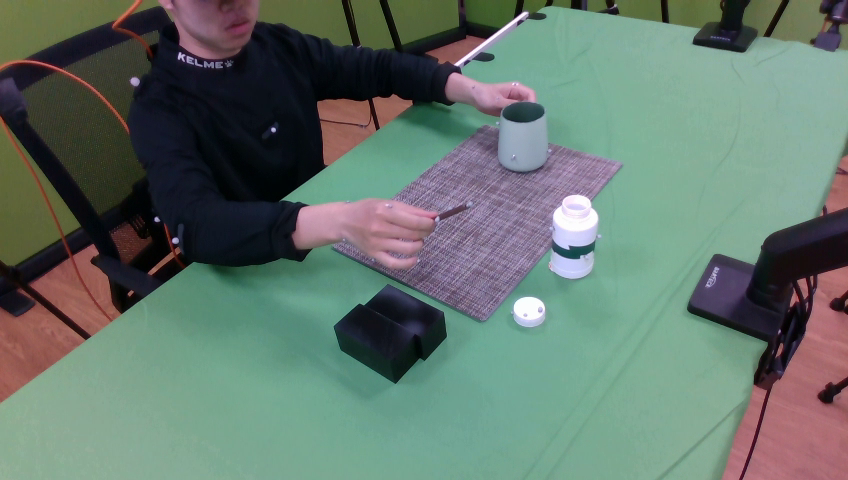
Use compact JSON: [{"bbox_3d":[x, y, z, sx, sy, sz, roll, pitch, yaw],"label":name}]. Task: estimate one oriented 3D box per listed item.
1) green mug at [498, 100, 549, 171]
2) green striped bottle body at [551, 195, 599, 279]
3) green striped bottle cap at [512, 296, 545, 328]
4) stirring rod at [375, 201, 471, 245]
[{"bbox_3d":[0.182,-0.197,1.101,0.092,0.105,0.125,2,41,12],"label":"green mug"},{"bbox_3d":[0.217,-0.007,0.870,0.063,0.120,0.063,-4,41,4],"label":"green striped bottle body"},{"bbox_3d":[0.144,0.099,0.837,0.044,0.020,0.044,-1,42,1],"label":"green striped bottle cap"},{"bbox_3d":[-0.005,-0.020,0.810,0.175,0.006,0.014,-23,-15,40],"label":"stirring rod"}]
